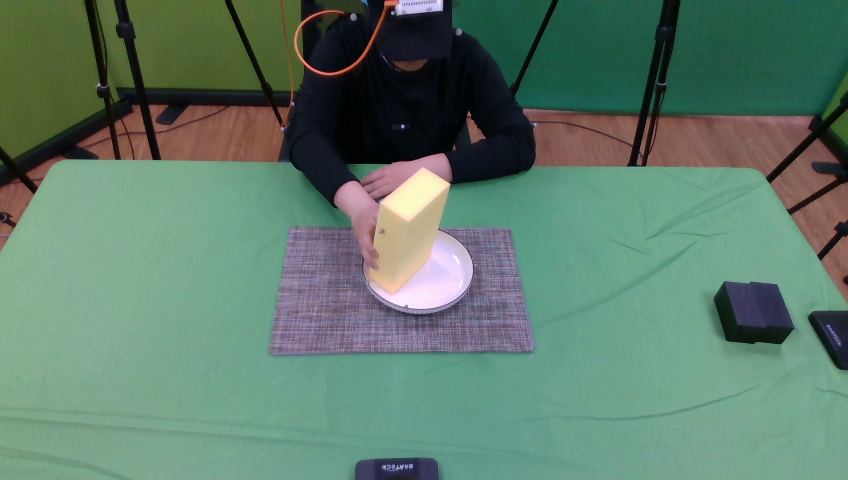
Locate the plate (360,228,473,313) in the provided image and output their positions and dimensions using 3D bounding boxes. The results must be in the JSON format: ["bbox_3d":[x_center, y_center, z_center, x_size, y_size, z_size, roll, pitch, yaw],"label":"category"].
[{"bbox_3d":[-0.014,0.057,1.126,0.208,0.039,0.206,2,46,-2],"label":"plate"}]

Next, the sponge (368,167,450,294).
[{"bbox_3d":[-0.030,-0.012,1.059,0.060,0.207,0.118,34,52,16],"label":"sponge"}]
